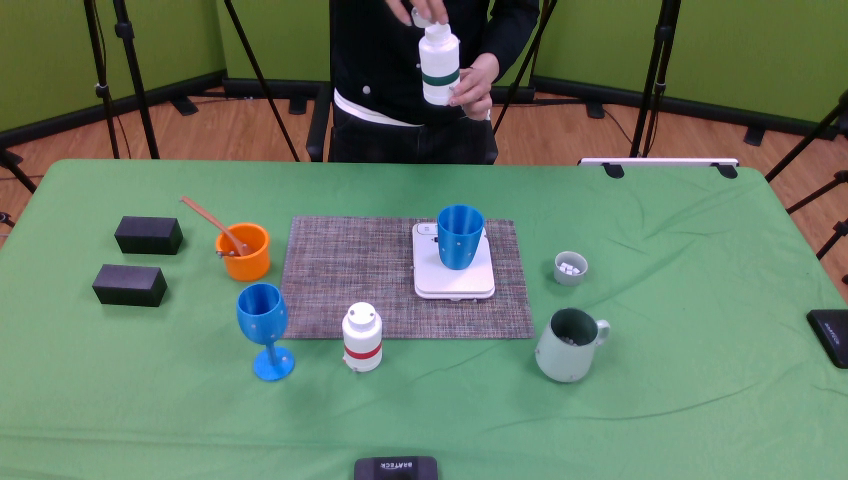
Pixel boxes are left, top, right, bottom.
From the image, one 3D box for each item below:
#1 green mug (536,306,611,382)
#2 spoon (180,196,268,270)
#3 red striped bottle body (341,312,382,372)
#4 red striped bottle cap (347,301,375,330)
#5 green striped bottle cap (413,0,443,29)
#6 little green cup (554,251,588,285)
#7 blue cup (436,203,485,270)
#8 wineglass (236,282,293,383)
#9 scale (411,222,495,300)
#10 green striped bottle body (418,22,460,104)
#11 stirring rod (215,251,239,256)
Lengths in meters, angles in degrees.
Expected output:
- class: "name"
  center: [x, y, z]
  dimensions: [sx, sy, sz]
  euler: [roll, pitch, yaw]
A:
- class: "green mug"
  center: [0.250, 0.167, 0.996]
  dimensions: [0.125, 0.105, 0.092]
  euler: [-15, 48, -18]
- class: "spoon"
  center: [-0.360, -0.014, 1.094]
  dimensions: [0.021, 0.194, 0.041]
  euler: [-27, 26, 31]
- class: "red striped bottle body"
  center: [-0.100, 0.154, 0.972]
  dimensions: [0.063, 0.120, 0.062]
  euler: [2, 46, -1]
- class: "red striped bottle cap"
  center: [-0.097, 0.116, 0.934]
  dimensions: [0.044, 0.018, 0.044]
  euler: [3, 49, -3]
- class: "green striped bottle cap"
  center: [0.006, -0.337, 0.903]
  dimensions: [0.044, 0.020, 0.044]
  euler: [-4, 61, 8]
- class: "little green cup"
  center: [0.277, 0.055, 1.151]
  dimensions: [0.061, 0.039, 0.061]
  euler: [1, 46, -1]
- class: "blue cup"
  center: [0.062, -0.001, 1.099]
  dimensions: [0.093, 0.101, 0.092]
  euler: [2, 44, -2]
- class: "wineglass"
  center: [-0.243, 0.143, 0.934]
  dimensions: [0.074, 0.173, 0.073]
  euler: [2, 46, -2]
- class: "scale"
  center: [0.052, 0.031, 1.158]
  dimensions: [0.149, 0.032, 0.199]
  euler: [1, 46, -4]
- class: "green striped bottle body"
  center: [0.024, -0.284, 0.969]
  dimensions: [0.063, 0.120, 0.063]
  euler: [-3, 47, 3]
- class: "stirring rod"
  center: [-0.339, 0.024, 1.059]
  dimensions: [0.014, 0.176, 0.006]
  euler: [16, 86, -6]
